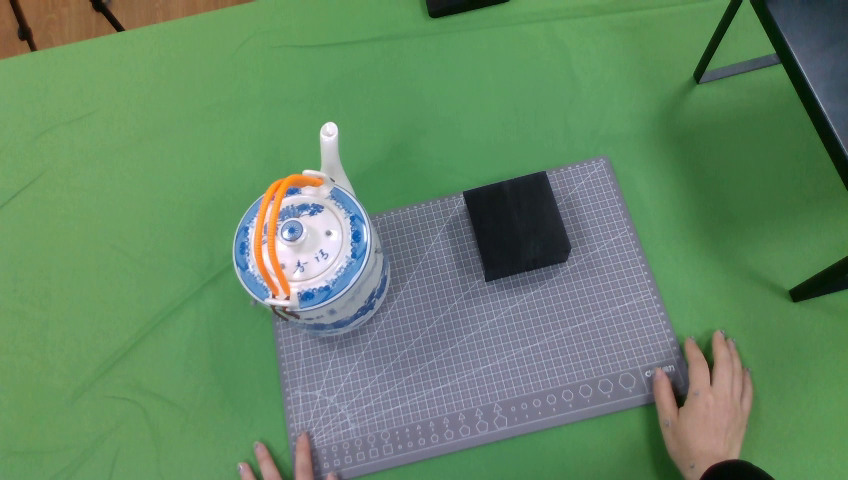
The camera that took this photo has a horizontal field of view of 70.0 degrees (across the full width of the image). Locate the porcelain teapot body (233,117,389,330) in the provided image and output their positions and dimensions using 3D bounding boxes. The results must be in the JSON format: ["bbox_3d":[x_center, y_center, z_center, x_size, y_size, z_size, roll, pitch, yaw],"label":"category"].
[{"bbox_3d":[-0.117,-0.022,0.643,0.145,0.227,0.204,7,72,8],"label":"porcelain teapot body"}]

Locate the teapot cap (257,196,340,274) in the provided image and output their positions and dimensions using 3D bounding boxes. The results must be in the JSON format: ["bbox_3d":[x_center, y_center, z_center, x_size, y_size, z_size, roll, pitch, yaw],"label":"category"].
[{"bbox_3d":[-0.126,-0.008,0.598,0.085,0.044,0.084,-3,68,8],"label":"teapot cap"}]
